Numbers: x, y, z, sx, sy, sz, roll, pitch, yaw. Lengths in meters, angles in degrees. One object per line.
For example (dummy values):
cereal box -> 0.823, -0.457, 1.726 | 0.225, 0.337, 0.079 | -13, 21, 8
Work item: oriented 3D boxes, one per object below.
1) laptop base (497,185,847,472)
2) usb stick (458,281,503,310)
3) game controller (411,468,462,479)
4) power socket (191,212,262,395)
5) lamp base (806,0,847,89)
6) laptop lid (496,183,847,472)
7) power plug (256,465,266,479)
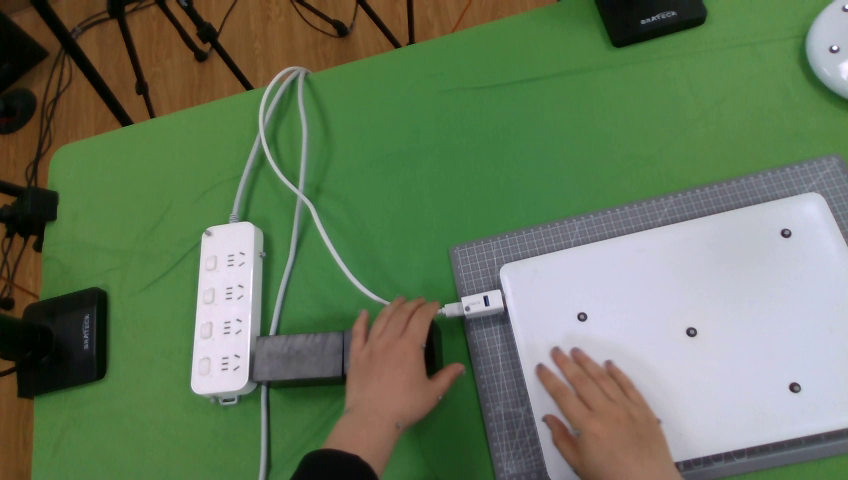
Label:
laptop base -> 0.271, 0.087, 0.632 | 0.354, 0.023, 0.234 | -14, 71, 6
usb stick -> 0.069, 0.060, 0.668 | 0.059, 0.027, 0.021 | -10, 68, 2
game controller -> -0.003, 0.301, 0.592 | 0.096, 0.052, 0.155 | 37, 80, 23
power socket -> -0.236, 0.070, 0.731 | 0.072, 0.033, 0.225 | -7, 68, 8
lamp base -> 0.517, -0.271, 0.629 | 0.160, 0.182, 0.178 | 19, 72, 17
laptop lid -> 0.269, 0.085, 0.620 | 0.356, 0.013, 0.240 | -12, 70, 7
power plug -> -0.195, 0.285, 0.651 | 0.052, 0.035, 0.072 | -18, 25, 31
